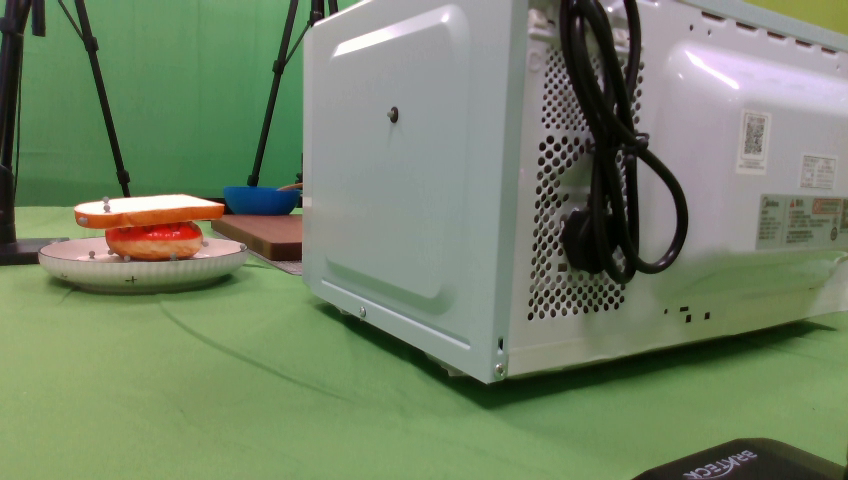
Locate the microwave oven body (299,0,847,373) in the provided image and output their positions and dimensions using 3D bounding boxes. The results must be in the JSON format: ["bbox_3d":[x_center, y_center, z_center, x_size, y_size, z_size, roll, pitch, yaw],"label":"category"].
[{"bbox_3d":[0.151,-0.055,0.543,0.444,0.260,0.324,-2,7,-33],"label":"microwave oven body"}]

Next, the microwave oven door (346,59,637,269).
[{"bbox_3d":[0.086,-0.089,0.750,0.357,0.243,0.039,1,8,-10],"label":"microwave oven door"}]

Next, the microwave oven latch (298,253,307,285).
[{"bbox_3d":[-0.081,0.027,0.582,0.079,0.029,0.030,-1,7,-32],"label":"microwave oven latch"}]

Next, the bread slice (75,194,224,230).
[{"bbox_3d":[-0.301,-0.032,0.659,0.106,0.018,0.135,10,16,42],"label":"bread slice"}]

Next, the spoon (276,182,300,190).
[{"bbox_3d":[-0.301,-0.102,1.267,0.194,0.021,0.041,-23,8,-23],"label":"spoon"}]

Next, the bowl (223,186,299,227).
[{"bbox_3d":[-0.331,-0.068,1.231,0.151,0.077,0.151,3,7,0],"label":"bowl"}]

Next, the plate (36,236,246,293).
[{"bbox_3d":[-0.305,0.026,0.668,0.208,0.039,0.207,2,7,0],"label":"plate"}]

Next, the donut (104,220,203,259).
[{"bbox_3d":[-0.297,-0.003,0.669,0.099,0.048,0.099,3,-1,0],"label":"donut"}]

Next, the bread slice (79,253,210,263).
[{"bbox_3d":[-0.302,0.027,0.662,0.132,0.019,0.104,-4,8,-45],"label":"bread slice"}]
